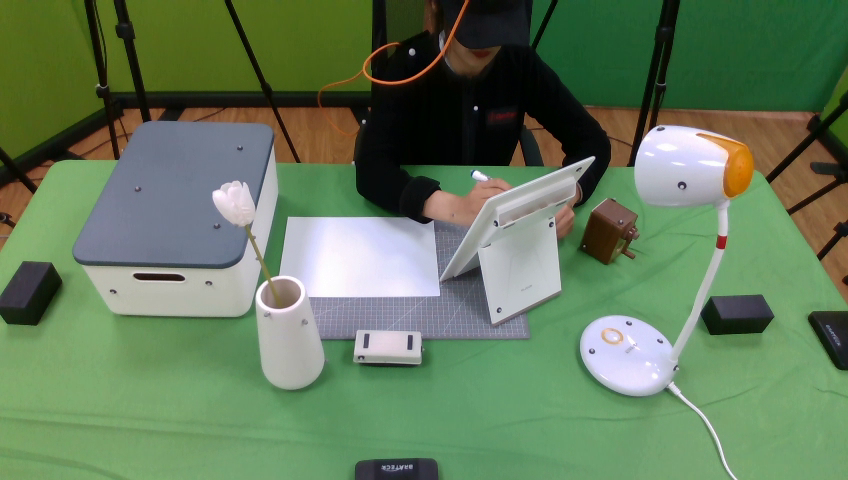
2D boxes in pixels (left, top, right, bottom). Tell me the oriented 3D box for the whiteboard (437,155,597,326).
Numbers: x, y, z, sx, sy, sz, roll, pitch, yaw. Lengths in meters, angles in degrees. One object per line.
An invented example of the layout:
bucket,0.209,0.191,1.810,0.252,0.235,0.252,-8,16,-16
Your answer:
whiteboard,0.180,0.024,1.029,0.217,0.306,0.143,-22,70,-23

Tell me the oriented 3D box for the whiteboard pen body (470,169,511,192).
whiteboard pen body,0.139,-0.092,1.072,0.140,0.017,0.017,32,52,29

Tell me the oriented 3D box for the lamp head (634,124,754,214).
lamp head,0.351,-0.089,0.776,0.112,0.113,0.122,-30,30,-28

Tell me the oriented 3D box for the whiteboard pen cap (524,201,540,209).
whiteboard pen cap,0.229,-0.075,1.289,0.033,0.018,0.018,3,46,4

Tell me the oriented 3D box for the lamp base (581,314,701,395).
lamp base,0.361,0.145,0.973,0.178,0.181,0.160,34,53,23

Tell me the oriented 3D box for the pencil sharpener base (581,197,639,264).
pencil sharpener base,0.362,-0.017,1.179,0.076,0.107,0.061,37,54,27

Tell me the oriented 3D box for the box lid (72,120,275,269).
box lid,-0.417,-0.094,1.056,0.263,0.015,0.369,1,47,-3

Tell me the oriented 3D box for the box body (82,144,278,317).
box body,-0.421,-0.041,1.108,0.254,0.161,0.361,2,46,-3

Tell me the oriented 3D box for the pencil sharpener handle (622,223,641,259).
pencil sharpener handle,0.397,0.003,1.146,0.030,0.068,0.036,37,46,27

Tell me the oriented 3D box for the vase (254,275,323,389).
vase,-0.209,0.143,0.921,0.098,0.201,0.097,1,46,-1

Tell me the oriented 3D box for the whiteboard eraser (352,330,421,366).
whiteboard eraser,-0.060,0.180,1.005,0.113,0.042,0.055,3,48,-2

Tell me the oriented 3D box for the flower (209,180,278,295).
flower,-0.216,0.075,0.871,0.044,0.363,0.038,-29,36,-19
